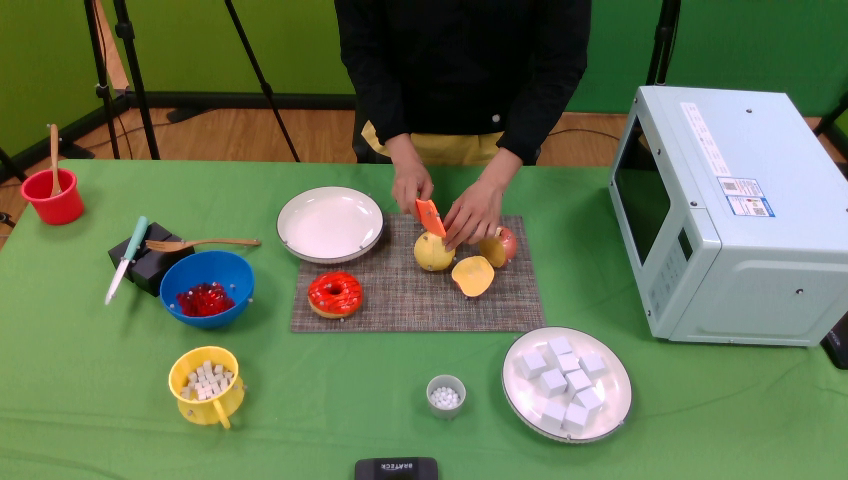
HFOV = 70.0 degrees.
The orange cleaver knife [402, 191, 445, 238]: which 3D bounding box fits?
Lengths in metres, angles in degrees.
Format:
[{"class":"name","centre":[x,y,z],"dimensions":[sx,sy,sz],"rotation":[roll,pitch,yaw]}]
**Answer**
[{"class":"orange cleaver knife","centre":[-0.002,-0.049,1.105],"dimensions":[0.012,0.077,0.210],"rotation":[-21,17,-11]}]

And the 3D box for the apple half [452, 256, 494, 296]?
[{"class":"apple half","centre":[0.095,0.070,1.120],"dimensions":[0.081,0.033,0.081],"rotation":[-7,63,13]}]

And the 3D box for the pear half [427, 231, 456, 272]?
[{"class":"pear half","centre":[0.031,0.007,1.128],"dimensions":[0.056,0.110,0.076],"rotation":[-15,53,-14]}]

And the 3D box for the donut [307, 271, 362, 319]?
[{"class":"donut","centre":[-0.157,0.097,1.073],"dimensions":[0.099,0.048,0.098],"rotation":[4,45,-4]}]

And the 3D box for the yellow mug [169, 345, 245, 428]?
[{"class":"yellow mug","centre":[-0.322,0.230,0.922],"dimensions":[0.100,0.064,0.130],"rotation":[-24,53,-25]}]

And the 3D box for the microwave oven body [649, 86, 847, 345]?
[{"class":"microwave oven body","centre":[0.567,-0.053,1.118],"dimensions":[0.326,0.261,0.439],"rotation":[2,45,-1]}]

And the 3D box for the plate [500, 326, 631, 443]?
[{"class":"plate","centre":[0.224,0.234,0.978],"dimensions":[0.208,0.039,0.206],"rotation":[2,46,-2]}]

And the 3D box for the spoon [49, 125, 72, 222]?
[{"class":"spoon","centre":[-0.717,-0.132,1.189],"dimensions":[0.042,0.021,0.193],"rotation":[-3,90,-8]}]

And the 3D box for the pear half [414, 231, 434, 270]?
[{"class":"pear half","centre":[-0.002,0.019,1.128],"dimensions":[0.031,0.088,0.070],"rotation":[-14,54,-15]}]

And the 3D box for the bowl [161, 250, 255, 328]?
[{"class":"bowl","centre":[-0.362,0.097,1.040],"dimensions":[0.151,0.077,0.150],"rotation":[2,45,-2]}]

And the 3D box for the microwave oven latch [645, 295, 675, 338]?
[{"class":"microwave oven latch","centre":[0.412,0.134,1.061],"dimensions":[0.030,0.029,0.078],"rotation":[3,45,0]}]

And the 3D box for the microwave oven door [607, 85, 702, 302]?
[{"class":"microwave oven door","centre":[0.423,-0.094,1.140],"dimensions":[0.039,0.245,0.353],"rotation":[2,46,-1]}]

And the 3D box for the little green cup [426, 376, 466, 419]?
[{"class":"little green cup","centre":[0.033,0.248,0.950],"dimensions":[0.061,0.039,0.061],"rotation":[2,46,-2]}]

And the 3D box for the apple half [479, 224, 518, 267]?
[{"class":"apple half","centre":[0.148,0.008,1.160],"dimensions":[0.053,0.075,0.080],"rotation":[-24,48,-30]}]

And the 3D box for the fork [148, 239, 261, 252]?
[{"class":"fork","centre":[-0.399,0.007,1.118],"dimensions":[0.208,0.019,0.028],"rotation":[-4,35,-37]}]

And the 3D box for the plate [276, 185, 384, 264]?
[{"class":"plate","centre":[-0.184,-0.027,1.195],"dimensions":[0.209,0.038,0.208],"rotation":[2,46,-2]}]

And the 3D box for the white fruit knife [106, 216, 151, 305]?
[{"class":"white fruit knife","centre":[-0.519,0.032,1.066],"dimensions":[0.027,0.016,0.206],"rotation":[-18,45,19]}]
